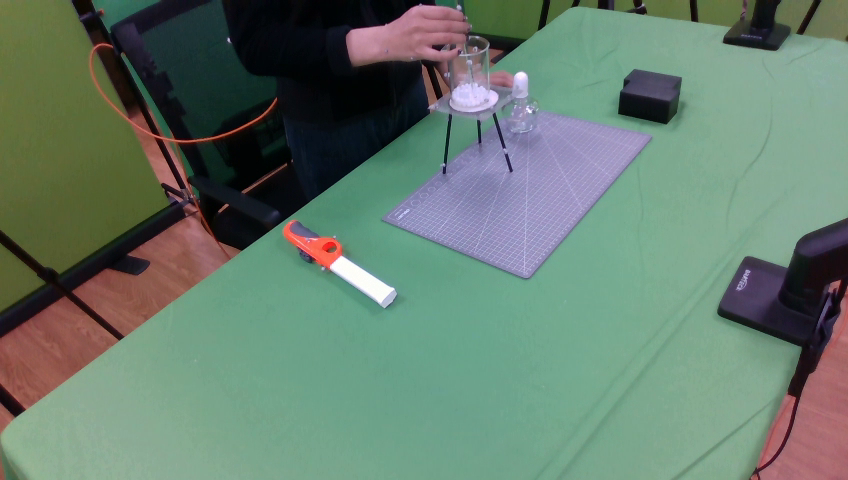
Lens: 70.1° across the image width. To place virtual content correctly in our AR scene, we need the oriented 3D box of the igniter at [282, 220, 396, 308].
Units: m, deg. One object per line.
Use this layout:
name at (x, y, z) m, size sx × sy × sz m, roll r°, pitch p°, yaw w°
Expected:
igniter at (-0.146, 0.032, 0.966) m, size 0.274 × 0.025 × 0.057 m, roll 30°, pitch 64°, yaw 37°

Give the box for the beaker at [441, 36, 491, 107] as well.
beaker at (0.074, -0.286, 1.036) m, size 0.084 × 0.101 × 0.073 m, roll -1°, pitch 41°, yaw 8°

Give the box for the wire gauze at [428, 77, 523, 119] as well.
wire gauze at (0.090, -0.248, 1.063) m, size 0.120 × 0.011 × 0.125 m, roll 24°, pitch 48°, yaw 30°

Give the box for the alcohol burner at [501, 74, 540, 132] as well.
alcohol burner at (0.191, -0.275, 1.194) m, size 0.078 × 0.119 × 0.077 m, roll -4°, pitch 42°, yaw 4°

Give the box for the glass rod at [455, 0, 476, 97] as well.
glass rod at (0.064, -0.323, 0.974) m, size 0.008 × 0.201 × 0.008 m, roll -10°, pitch 35°, yaw 8°

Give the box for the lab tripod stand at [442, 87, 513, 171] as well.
lab tripod stand at (0.097, -0.201, 1.108) m, size 0.148 × 0.132 × 0.147 m, roll -4°, pitch 40°, yaw 4°

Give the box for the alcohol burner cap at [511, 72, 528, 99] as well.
alcohol burner cap at (0.185, -0.302, 1.171) m, size 0.034 × 0.048 × 0.033 m, roll -2°, pitch 42°, yaw 2°
